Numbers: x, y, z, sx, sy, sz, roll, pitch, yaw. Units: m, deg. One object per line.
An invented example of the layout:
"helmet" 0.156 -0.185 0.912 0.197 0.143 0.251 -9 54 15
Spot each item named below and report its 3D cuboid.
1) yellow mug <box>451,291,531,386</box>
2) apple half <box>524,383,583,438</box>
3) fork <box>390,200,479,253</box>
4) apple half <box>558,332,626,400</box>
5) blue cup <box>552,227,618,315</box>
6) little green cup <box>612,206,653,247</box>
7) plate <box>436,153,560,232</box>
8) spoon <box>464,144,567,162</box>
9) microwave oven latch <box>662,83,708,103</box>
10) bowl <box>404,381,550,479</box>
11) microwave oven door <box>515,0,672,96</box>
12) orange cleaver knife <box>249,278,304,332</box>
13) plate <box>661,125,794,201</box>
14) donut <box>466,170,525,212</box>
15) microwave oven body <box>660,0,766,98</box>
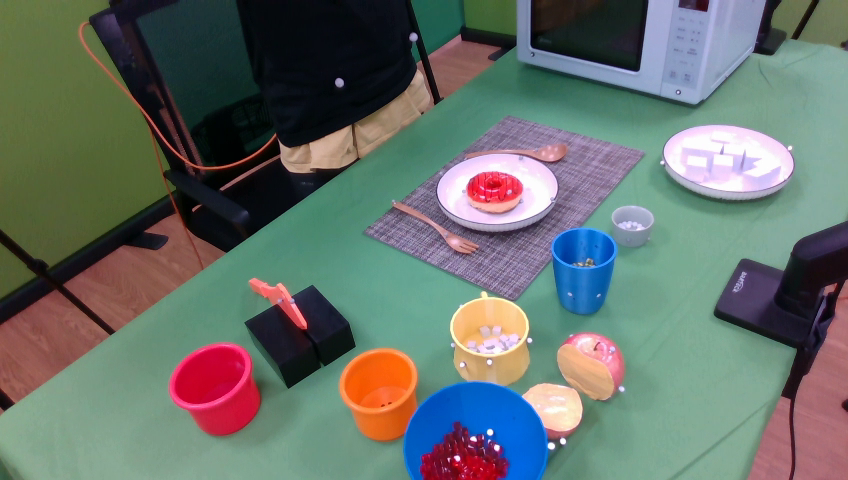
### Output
"yellow mug" 0.086 0.120 0.786 0.100 0.064 0.130 -7 39 1
"apple half" 0.149 0.204 0.704 0.081 0.033 0.081 -10 25 5
"fork" 0.011 -0.025 0.998 0.028 0.019 0.205 -40 51 -22
"apple half" 0.209 0.147 0.731 0.080 0.075 0.053 25 46 38
"blue cup" 0.218 0.047 0.825 0.092 0.100 0.092 -6 39 5
"little green cup" 0.321 -0.019 0.936 0.061 0.039 0.061 -4 40 4
"plate" 0.125 -0.078 1.029 0.209 0.038 0.208 -4 40 4
"spoon" 0.170 -0.163 1.135 0.193 0.022 0.041 1 60 10
"microwave oven latch" 0.518 -0.296 1.204 0.078 0.029 0.030 28 53 36
"bowl" 0.058 0.235 0.645 0.151 0.077 0.150 -4 39 4
"microwave oven door" 0.344 -0.454 1.259 0.353 0.245 0.039 26 51 33
"orange cleaver knife" -0.210 0.089 0.855 0.012 0.077 0.210 -27 14 -25
"plate" 0.513 -0.128 1.035 0.207 0.039 0.206 -4 40 4
"donut" 0.121 -0.083 1.019 0.099 0.048 0.098 -4 39 4
"microwave oven body" 0.472 -0.513 1.317 0.438 0.261 0.327 26 51 34
